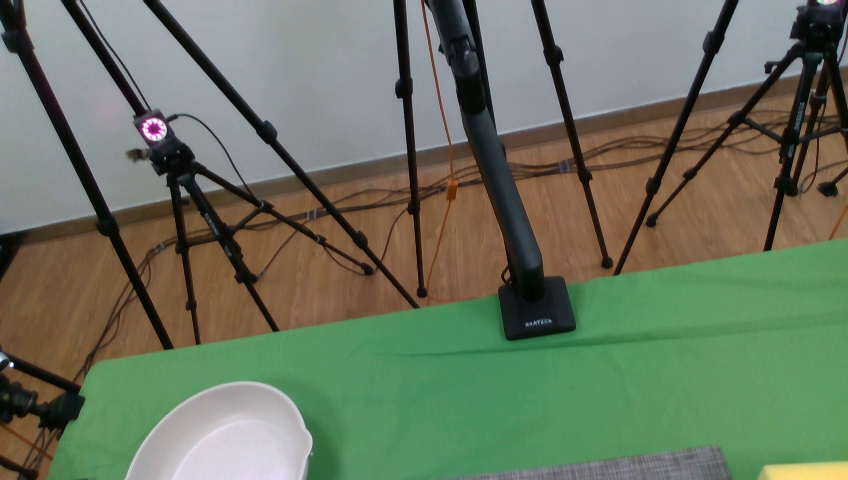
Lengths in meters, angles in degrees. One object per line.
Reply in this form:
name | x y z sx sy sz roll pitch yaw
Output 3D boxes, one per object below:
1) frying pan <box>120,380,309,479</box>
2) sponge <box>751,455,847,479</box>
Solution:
frying pan | -0.299 0.419 0.846 0.307 0.104 0.482 -16 38 3
sponge | 0.457 0.347 0.660 0.118 0.061 0.205 -7 47 9
